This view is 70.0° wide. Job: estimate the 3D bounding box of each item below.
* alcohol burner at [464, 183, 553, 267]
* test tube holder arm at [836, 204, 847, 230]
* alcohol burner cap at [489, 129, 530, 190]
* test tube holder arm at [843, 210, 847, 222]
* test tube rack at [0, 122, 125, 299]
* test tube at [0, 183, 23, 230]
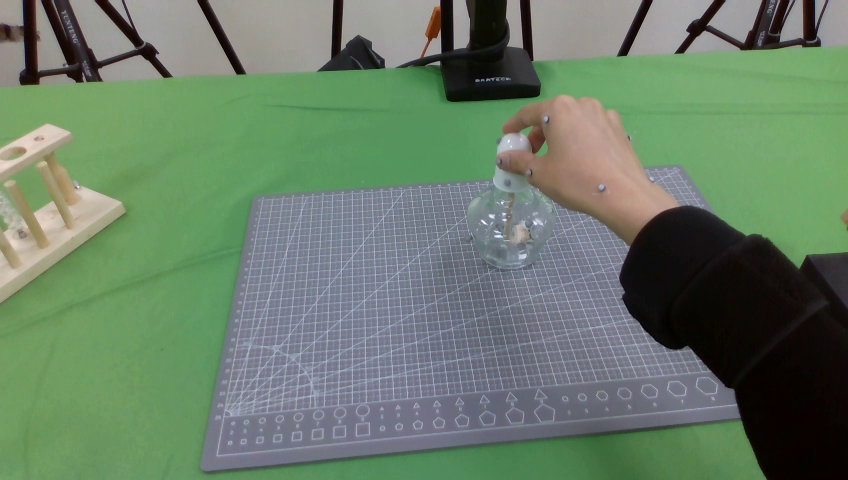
[{"bbox_3d":[0.073,-0.035,0.516,0.078,0.120,0.077,-1,41,1],"label":"alcohol burner"},{"bbox_3d":[0.349,0.005,0.468,0.010,0.015,0.087,2,42,-7],"label":"test tube holder arm"},{"bbox_3d":[0.070,-0.066,0.487,0.034,0.048,0.033,-1,43,1],"label":"alcohol burner cap"},{"bbox_3d":[0.357,0.035,0.436,0.013,0.015,0.176,2,42,-8],"label":"test tube holder arm"},{"bbox_3d":[-0.385,0.001,0.511,0.066,0.086,0.241,20,46,21],"label":"test tube rack"},{"bbox_3d":[-0.382,-0.069,0.514,0.017,0.151,0.017,-2,40,2],"label":"test tube"}]
